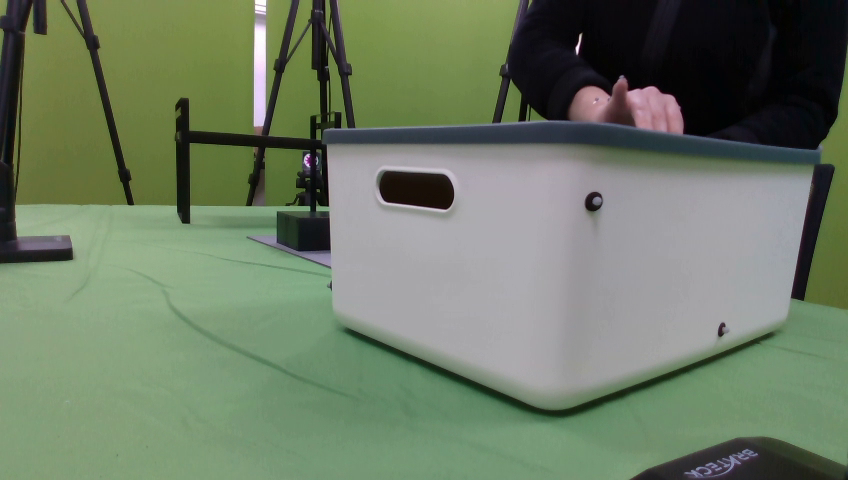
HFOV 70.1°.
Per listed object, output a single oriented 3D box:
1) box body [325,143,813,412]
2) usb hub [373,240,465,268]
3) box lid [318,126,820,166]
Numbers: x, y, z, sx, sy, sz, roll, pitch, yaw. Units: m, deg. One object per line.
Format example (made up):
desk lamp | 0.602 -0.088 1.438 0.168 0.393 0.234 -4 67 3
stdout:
box body | 0.126 -0.001 0.511 0.366 0.160 0.253 -4 10 -41
usb hub | -0.005 0.018 0.826 0.126 0.025 0.049 -3 9 -39
box lid | 0.130 -0.073 0.503 0.374 0.015 0.262 -4 10 -40
